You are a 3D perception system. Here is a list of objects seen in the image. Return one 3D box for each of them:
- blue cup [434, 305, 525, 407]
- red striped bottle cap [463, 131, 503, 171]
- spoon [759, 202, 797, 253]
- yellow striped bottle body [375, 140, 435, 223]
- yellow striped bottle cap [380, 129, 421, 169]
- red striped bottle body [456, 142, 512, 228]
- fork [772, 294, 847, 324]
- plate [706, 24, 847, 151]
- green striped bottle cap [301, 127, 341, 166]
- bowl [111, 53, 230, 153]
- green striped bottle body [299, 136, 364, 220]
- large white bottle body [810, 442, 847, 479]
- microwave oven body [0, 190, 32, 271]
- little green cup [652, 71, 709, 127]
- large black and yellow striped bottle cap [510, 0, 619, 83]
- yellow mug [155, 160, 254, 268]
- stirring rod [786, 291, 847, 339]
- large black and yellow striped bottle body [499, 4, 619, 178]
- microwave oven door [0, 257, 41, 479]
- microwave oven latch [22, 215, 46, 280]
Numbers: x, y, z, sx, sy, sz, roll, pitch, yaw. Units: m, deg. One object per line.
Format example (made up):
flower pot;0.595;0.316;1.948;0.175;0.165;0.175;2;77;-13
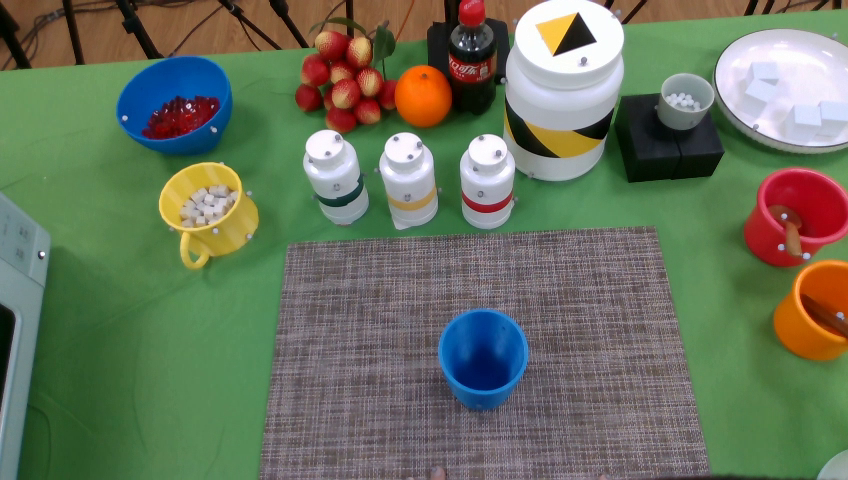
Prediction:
blue cup;0.054;0.125;0.607;0.092;0.101;0.092;-1;60;2
red striped bottle cap;0.065;-0.098;0.664;0.044;0.018;0.044;0;59;1
spoon;0.378;-0.016;0.639;0.041;0.194;0.022;27;112;19
yellow striped bottle body;-0.022;-0.076;0.719;0.063;0.121;0.062;-2;60;5
yellow striped bottle cap;-0.026;-0.102;0.674;0.044;0.019;0.044;-2;62;3
red striped bottle body;0.071;-0.071;0.709;0.063;0.121;0.062;-4;58;7
fork;0.433;0.083;0.576;0.028;0.019;0.206;-38;20;-15
plate;0.475;-0.197;0.794;0.209;0.038;0.207;-2;61;4
green striped bottle cap;-0.116;-0.106;0.683;0.044;0.020;0.044;-1;60;2
bowl;-0.329;-0.171;0.821;0.151;0.077;0.150;-1;61;3
green striped bottle body;-0.111;-0.080;0.729;0.063;0.120;0.062;-2;61;4
large white bottle body;0.417;0.211;0.485;0.130;0.186;0.129;-2;60;4
microwave oven body;-0.602;0.143;0.559;0.326;0.262;0.437;-11;61;-2
little green cup;0.308;-0.168;0.733;0.061;0.039;0.061;-1;59;2
large black and yellow striped bottle cap;0.150;-0.216;0.650;0.115;0.019;0.114;-2;60;4
yellow mug;-0.272;-0.027;0.743;0.100;0.064;0.130;6;62;7
stirring rod;0.403;0.084;0.586;0.014;0.006;0.175;-1;18;2
large black and yellow striped bottle body;0.157;-0.176;0.724;0.131;0.185;0.129;-2;61;4
microwave oven door;-0.452;0.148;0.538;0.039;0.246;0.352;-11;60;-1
microwave oven latch;-0.481;0.011;0.732;0.030;0.030;0.078;-9;61;-1
